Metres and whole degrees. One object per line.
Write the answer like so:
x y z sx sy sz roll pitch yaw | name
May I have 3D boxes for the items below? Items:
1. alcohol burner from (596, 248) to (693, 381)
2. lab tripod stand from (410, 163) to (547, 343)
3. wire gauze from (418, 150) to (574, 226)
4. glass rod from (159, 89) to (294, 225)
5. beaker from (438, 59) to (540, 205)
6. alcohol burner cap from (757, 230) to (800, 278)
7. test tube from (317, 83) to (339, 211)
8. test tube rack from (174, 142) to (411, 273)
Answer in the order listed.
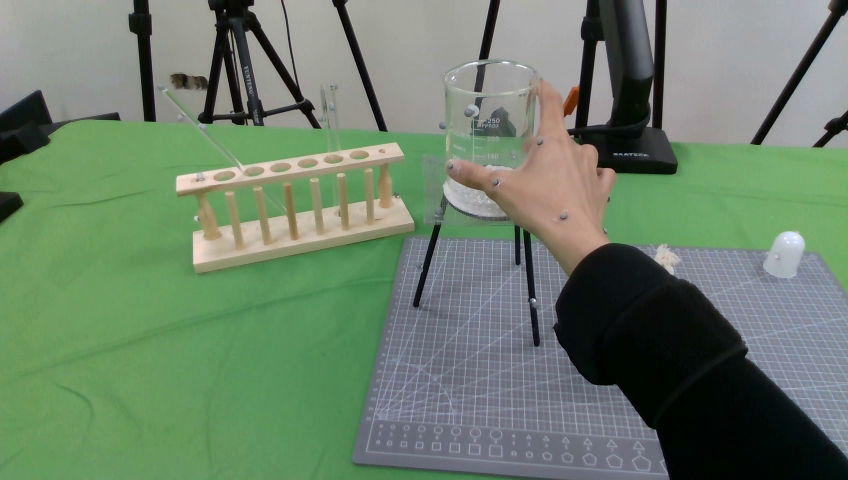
0.184 0.058 0.499 0.078 0.120 0.077 -1 34 1 | alcohol burner
0.058 0.008 0.556 0.148 0.132 0.147 -2 37 2 | lab tripod stand
0.056 -0.045 0.518 0.125 0.011 0.120 -3 34 3 | wire gauze
-0.202 -0.079 0.637 0.008 0.202 0.008 -23 39 20 | glass rod
0.048 -0.086 0.490 0.083 0.101 0.074 20 41 27 | beaker
0.365 0.011 0.620 0.034 0.048 0.033 -1 36 1 | alcohol burner cap
-0.104 -0.099 0.673 0.017 0.151 0.017 0 33 0 | test tube
-0.141 -0.039 0.675 0.243 0.086 0.066 -11 37 -14 | test tube rack
